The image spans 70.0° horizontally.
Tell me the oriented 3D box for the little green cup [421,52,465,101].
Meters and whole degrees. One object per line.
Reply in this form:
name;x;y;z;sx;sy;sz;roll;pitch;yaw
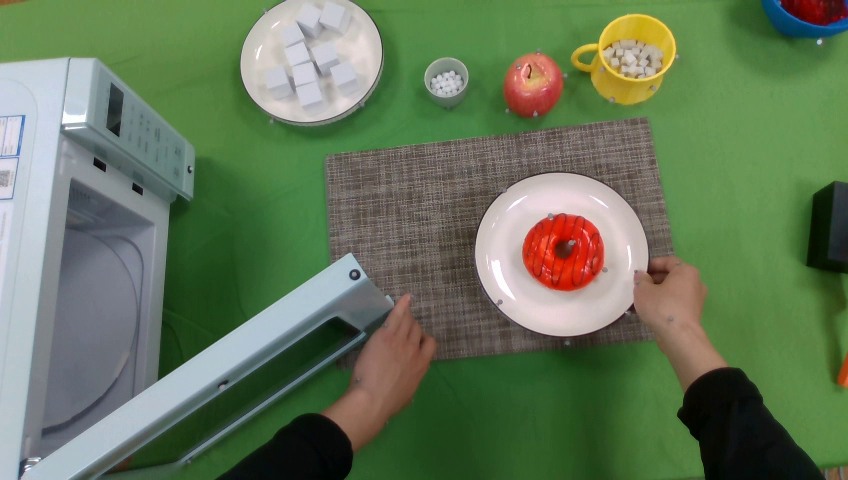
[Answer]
little green cup;0.028;-0.227;0.850;0.061;0.039;0.061;-1;76;5

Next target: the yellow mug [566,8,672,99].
yellow mug;0.260;-0.252;0.823;0.130;0.064;0.099;4;76;7

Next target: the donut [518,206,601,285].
donut;0.163;0.007;0.729;0.099;0.048;0.098;-2;76;7

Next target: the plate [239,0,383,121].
plate;-0.161;-0.264;0.875;0.207;0.039;0.206;-1;76;5

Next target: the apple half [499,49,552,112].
apple half;0.130;-0.208;0.820;0.053;0.075;0.080;-33;79;1

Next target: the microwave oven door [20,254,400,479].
microwave oven door;-0.195;0.147;0.654;0.356;0.245;0.039;-35;75;-4

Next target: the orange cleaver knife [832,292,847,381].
orange cleaver knife;0.519;0.063;0.712;0.012;0.077;0.212;13;110;10

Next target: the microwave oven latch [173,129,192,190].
microwave oven latch;-0.338;-0.110;0.833;0.030;0.029;0.079;-2;77;4

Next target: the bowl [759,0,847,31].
bowl;0.515;-0.338;0.815;0.151;0.077;0.150;-1;76;5

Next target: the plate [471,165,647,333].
plate;0.162;0.011;0.740;0.209;0.038;0.208;-2;75;6

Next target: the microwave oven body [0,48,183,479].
microwave oven body;-0.488;0.046;0.708;0.326;0.261;0.439;-3;77;4

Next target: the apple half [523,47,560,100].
apple half;0.163;-0.229;0.821;0.033;0.082;0.081;-33;75;1
